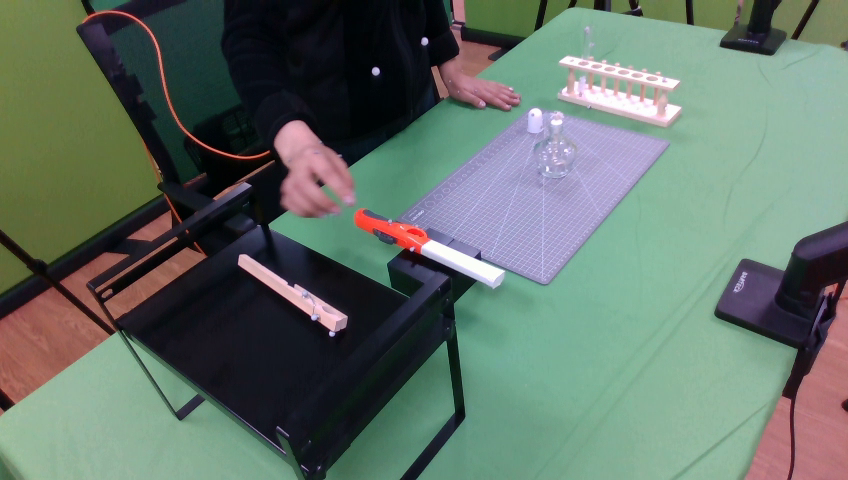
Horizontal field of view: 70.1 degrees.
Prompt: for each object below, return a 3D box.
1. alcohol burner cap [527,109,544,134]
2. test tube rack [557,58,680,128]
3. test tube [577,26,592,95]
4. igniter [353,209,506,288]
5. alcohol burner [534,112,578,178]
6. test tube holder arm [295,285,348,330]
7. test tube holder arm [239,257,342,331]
[{"bbox_3d":[0.222,-0.238,1.203,0.034,0.048,0.033,-5,40,5],"label":"alcohol burner cap"},{"bbox_3d":[0.395,-0.309,1.230,0.240,0.085,0.067,25,50,33],"label":"test tube rack"},{"bbox_3d":[0.325,-0.362,1.226,0.017,0.151,0.017,-3,45,4],"label":"test tube"},{"bbox_3d":[-0.003,0.006,0.892,0.274,0.025,0.057,24,38,31],"label":"igniter"},{"bbox_3d":[0.232,-0.170,1.065,0.078,0.119,0.077,-5,39,5],"label":"alcohol burner"},{"bbox_3d":[-0.113,0.070,0.636,0.087,0.015,0.010,25,18,36],"label":"test tube holder arm"},{"bbox_3d":[-0.149,0.055,0.657,0.177,0.015,0.013,25,18,35],"label":"test tube holder arm"}]
